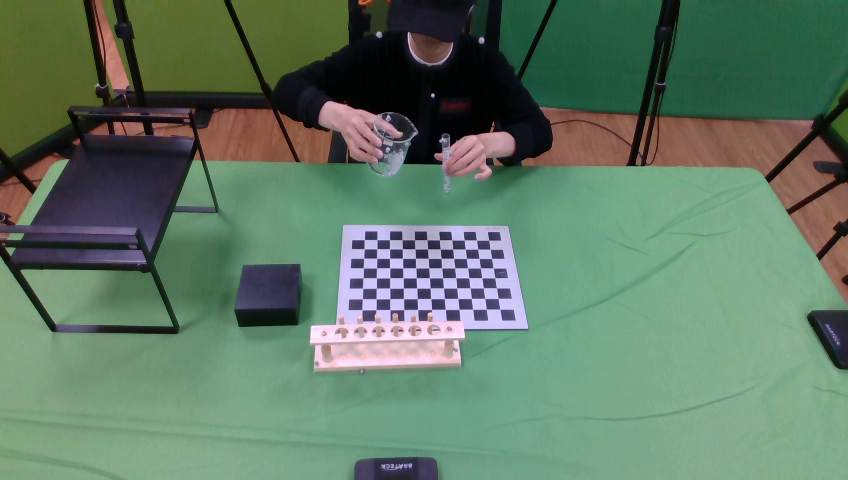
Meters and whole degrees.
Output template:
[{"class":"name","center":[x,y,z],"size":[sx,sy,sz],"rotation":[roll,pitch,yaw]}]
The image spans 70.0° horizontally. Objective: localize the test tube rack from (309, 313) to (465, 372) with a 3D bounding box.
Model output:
[{"class":"test tube rack","center":[-0.059,0.161,0.990],"size":[0.242,0.085,0.066],"rotation":[-1,46,-5]}]

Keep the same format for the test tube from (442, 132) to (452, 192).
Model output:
[{"class":"test tube","center":[0.044,-0.144,1.153],"size":[0.017,0.151,0.017],"rotation":[-2,52,3]}]

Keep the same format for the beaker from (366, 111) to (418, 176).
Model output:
[{"class":"beaker","center":[-0.062,-0.171,1.098],"size":[0.084,0.100,0.073],"rotation":[2,54,-16]}]
